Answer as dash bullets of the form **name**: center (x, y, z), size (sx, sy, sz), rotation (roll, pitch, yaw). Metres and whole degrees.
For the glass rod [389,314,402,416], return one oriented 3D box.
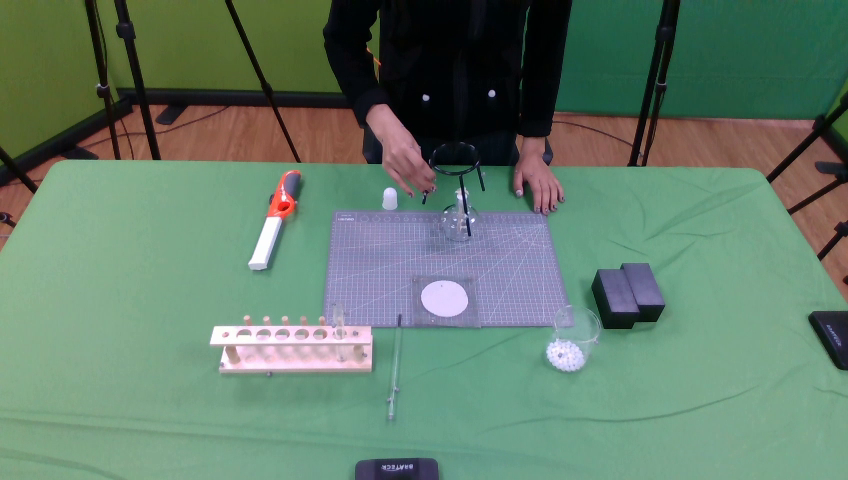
- **glass rod**: center (-0.048, 0.203, 1.008), size (0.008, 0.008, 0.198), rotation (4, 45, 0)

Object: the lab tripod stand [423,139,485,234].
- **lab tripod stand**: center (0.063, -0.104, 1.109), size (0.148, 0.132, 0.147), rotation (-2, 48, 2)

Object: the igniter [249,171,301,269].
- **igniter**: center (-0.297, -0.049, 1.221), size (0.057, 0.025, 0.275), rotation (-1, 45, 9)

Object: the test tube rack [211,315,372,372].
- **test tube rack**: center (-0.208, 0.163, 0.982), size (0.242, 0.085, 0.066), rotation (1, 46, -4)

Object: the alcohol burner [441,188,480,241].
- **alcohol burner**: center (0.073, -0.055, 1.189), size (0.078, 0.120, 0.077), rotation (1, 48, -1)

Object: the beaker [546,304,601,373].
- **beaker**: center (0.242, 0.167, 1.001), size (0.084, 0.101, 0.073), rotation (-32, 55, -28)

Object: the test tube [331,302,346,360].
- **test tube**: center (-0.132, 0.144, 0.938), size (0.017, 0.151, 0.017), rotation (2, 49, -3)

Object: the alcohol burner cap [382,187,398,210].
- **alcohol burner cap**: center (-0.072, -0.090, 1.266), size (0.034, 0.048, 0.033), rotation (2, 47, -2)

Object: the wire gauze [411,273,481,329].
- **wire gauze**: center (0.038, 0.108, 1.103), size (0.125, 0.011, 0.120), rotation (2, 47, -3)
